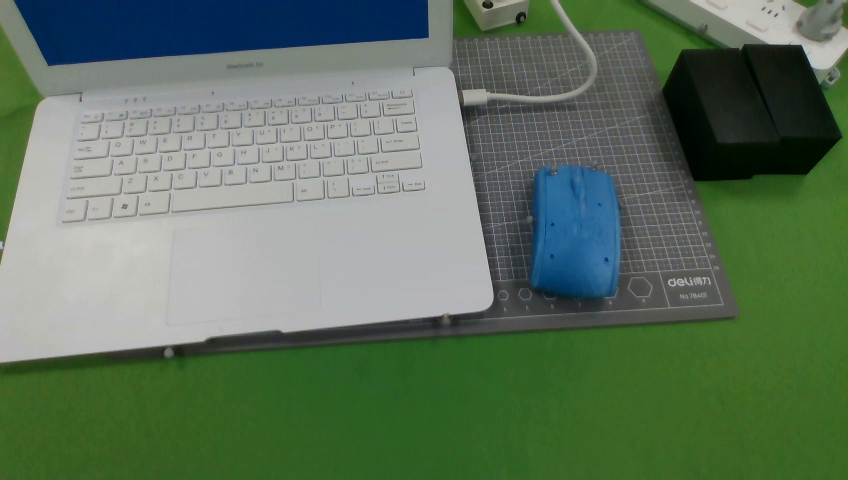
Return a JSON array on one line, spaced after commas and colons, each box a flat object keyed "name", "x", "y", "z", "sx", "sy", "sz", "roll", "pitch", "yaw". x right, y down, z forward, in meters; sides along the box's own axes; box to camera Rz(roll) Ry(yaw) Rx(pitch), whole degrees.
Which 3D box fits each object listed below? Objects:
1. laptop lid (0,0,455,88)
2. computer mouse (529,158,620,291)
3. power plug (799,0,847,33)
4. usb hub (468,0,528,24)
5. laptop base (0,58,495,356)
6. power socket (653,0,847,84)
[{"name": "laptop lid", "x": -0.152, "y": -0.221, "z": 0.441, "sx": 0.357, "sy": 0.244, "sz": 0.013, "roll": -6, "pitch": 48, "yaw": -3}, {"name": "computer mouse", "x": 0.113, "y": -0.017, "z": 0.453, "sx": 0.063, "sy": 0.041, "sz": 0.116, "roll": 7, "pitch": 57, "yaw": 5}, {"name": "power plug", "x": 0.371, "y": -0.210, "z": 0.546, "sx": 0.072, "sy": 0.053, "sz": 0.035, "roll": -33, "pitch": 65, "yaw": -16}, {"name": "usb hub", "x": 0.055, "y": -0.269, "z": 0.600, "sx": 0.049, "sy": 0.025, "sz": 0.124, "roll": -18, "pitch": 63, "yaw": -11}, {"name": "laptop base", "x": -0.136, "y": -0.038, "z": 0.474, "sx": 0.355, "sy": 0.023, "sz": 0.233, "roll": -6, "pitch": 65, "yaw": -4}, {"name": "power socket", "x": 0.297, "y": -0.226, "z": 0.578, "sx": 0.225, "sy": 0.033, "sz": 0.072, "roll": 40, "pitch": 67, "yaw": 19}]
